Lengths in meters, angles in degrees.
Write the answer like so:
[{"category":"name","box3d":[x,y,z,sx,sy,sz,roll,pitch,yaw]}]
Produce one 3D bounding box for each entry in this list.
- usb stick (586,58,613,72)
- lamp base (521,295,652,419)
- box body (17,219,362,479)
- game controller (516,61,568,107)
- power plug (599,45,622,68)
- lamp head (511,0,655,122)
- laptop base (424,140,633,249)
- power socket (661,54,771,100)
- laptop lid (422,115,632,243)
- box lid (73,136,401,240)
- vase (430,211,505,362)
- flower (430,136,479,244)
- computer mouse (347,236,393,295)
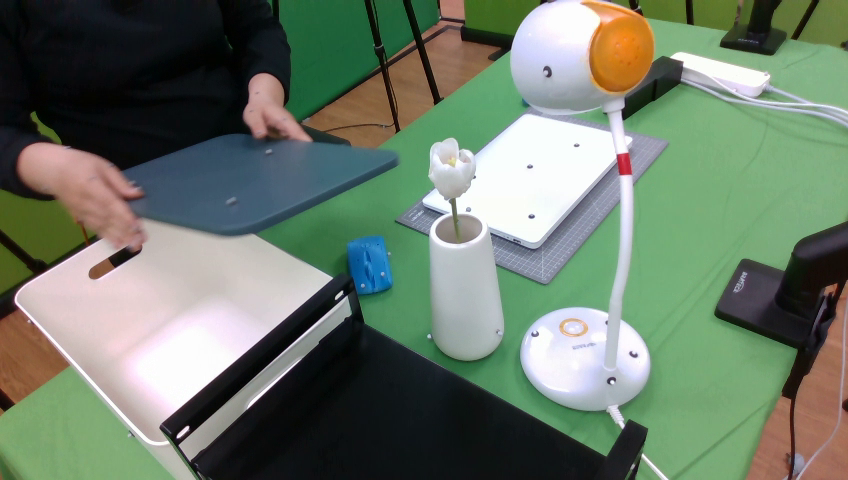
[{"category":"usb stick","box3d":[0.401,-0.399,1.380,0.059,0.027,0.021,1,48,20]},{"category":"lamp base","box3d":[0.201,0.095,0.710,0.161,0.181,0.177,-16,43,-10]},{"category":"box body","box3d":[-0.285,0.123,0.766,0.361,0.161,0.255,25,49,33]},{"category":"game controller","box3d":[0.259,-0.352,1.336,0.097,0.052,0.154,-3,41,2]},{"category":"power plug","box3d":[0.437,-0.422,1.412,0.053,0.035,0.072,-19,74,-47]},{"category":"lamp head","box3d":[0.155,-0.168,0.564,0.113,0.113,0.122,-18,23,-12]},{"category":"laptop base","box3d":[0.194,-0.117,1.087,0.233,0.023,0.355,20,47,34]},{"category":"power socket","box3d":[0.615,-0.348,1.284,0.072,0.033,0.225,-36,48,-29]},{"category":"laptop lid","box3d":[0.190,-0.126,1.081,0.239,0.013,0.358,23,48,34]},{"category":"box lid","box3d":[-0.237,-0.079,0.757,0.368,0.015,0.264,11,31,36]},{"category":"vase","box3d":[0.053,0.062,0.758,0.098,0.201,0.097,-3,40,3]},{"category":"flower","box3d":[0.041,0.011,0.691,0.044,0.363,0.038,16,62,14]},{"category":"computer mouse","box3d":[-0.086,0.035,0.937,0.063,0.041,0.116,-9,44,-5]}]
